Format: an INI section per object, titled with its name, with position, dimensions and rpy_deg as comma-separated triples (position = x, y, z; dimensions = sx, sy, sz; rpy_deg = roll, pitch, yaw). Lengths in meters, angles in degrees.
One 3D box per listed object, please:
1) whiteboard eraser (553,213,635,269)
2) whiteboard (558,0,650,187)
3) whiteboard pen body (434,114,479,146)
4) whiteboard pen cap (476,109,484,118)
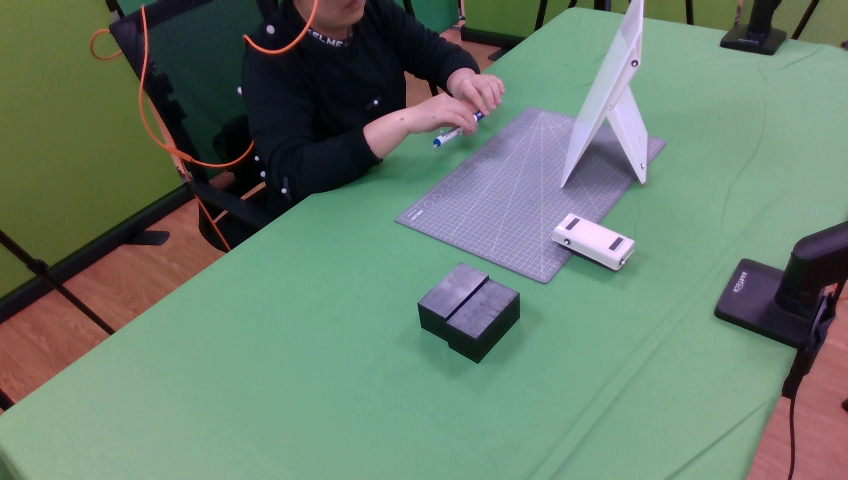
[whiteboard eraser]
position = 0.257, 0.003, 0.918
dimensions = 0.112, 0.042, 0.056
rpy_deg = 27, 49, 30
[whiteboard]
position = 0.362, -0.238, 1.026
dimensions = 0.144, 0.306, 0.217
rpy_deg = 21, 44, 4
[whiteboard pen body]
position = 0.068, -0.211, 1.132
dimensions = 0.017, 0.017, 0.141
rpy_deg = 27, 49, 34
[whiteboard pen cap]
position = 0.108, -0.245, 1.167
dimensions = 0.018, 0.018, 0.033
rpy_deg = -2, 16, 7
